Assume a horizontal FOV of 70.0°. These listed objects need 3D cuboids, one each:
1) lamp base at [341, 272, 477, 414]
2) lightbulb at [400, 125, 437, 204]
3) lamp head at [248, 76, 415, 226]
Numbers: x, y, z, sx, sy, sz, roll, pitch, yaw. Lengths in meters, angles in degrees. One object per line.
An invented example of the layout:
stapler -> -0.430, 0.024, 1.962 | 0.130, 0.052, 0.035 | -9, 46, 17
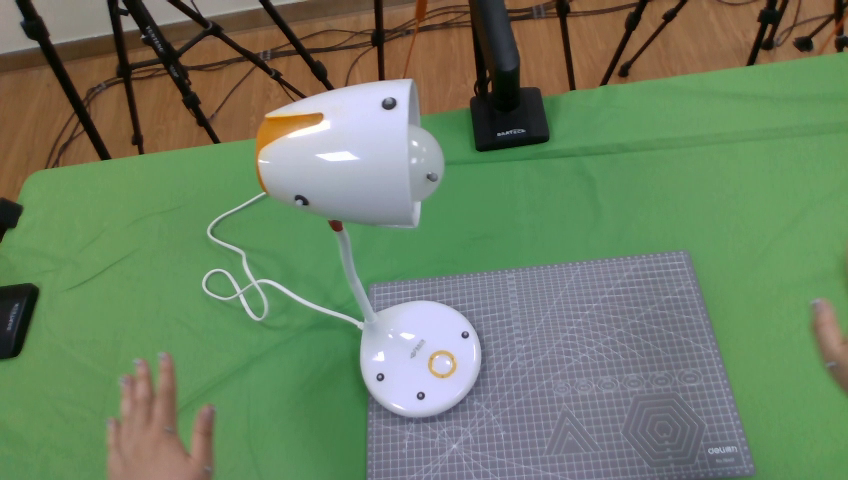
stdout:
lamp base -> -0.032, 0.107, 0.736 | 0.178, 0.182, 0.160 | 15, 62, 21
lightbulb -> -0.044, -0.053, 0.453 | 0.107, 0.060, 0.059 | -5, 59, 8
lamp head -> -0.067, -0.062, 0.460 | 0.123, 0.113, 0.111 | -4, 59, 9
